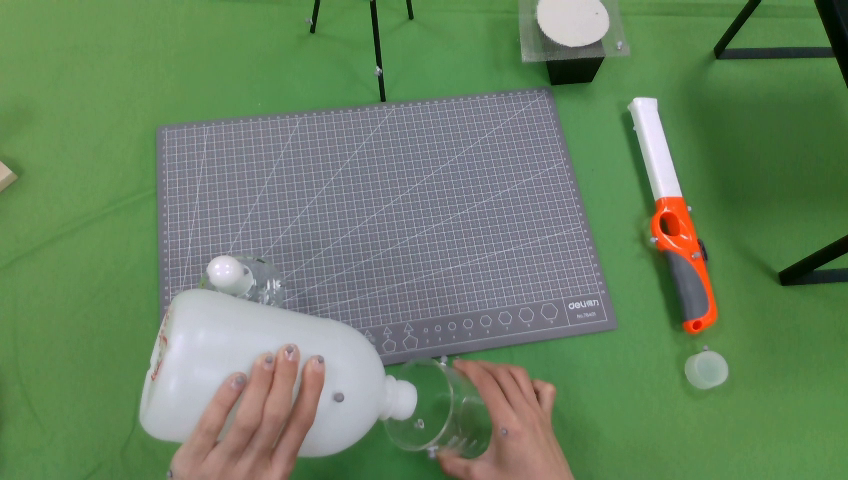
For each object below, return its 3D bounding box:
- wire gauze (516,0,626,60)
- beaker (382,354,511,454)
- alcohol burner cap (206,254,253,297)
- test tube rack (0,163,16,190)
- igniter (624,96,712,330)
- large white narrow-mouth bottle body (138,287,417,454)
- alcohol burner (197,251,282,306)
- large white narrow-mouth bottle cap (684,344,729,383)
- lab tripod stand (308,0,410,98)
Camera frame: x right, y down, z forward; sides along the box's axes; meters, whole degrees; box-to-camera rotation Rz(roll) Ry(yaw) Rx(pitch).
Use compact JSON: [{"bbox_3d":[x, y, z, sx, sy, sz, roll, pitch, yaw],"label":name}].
[{"bbox_3d":[0.165,-0.260,0.700,0.121,0.011,0.124,0,69,-5],"label":"wire gauze"},{"bbox_3d":[0.021,0.147,0.527,0.084,0.101,0.073,-20,59,34],"label":"beaker"},{"bbox_3d":[-0.168,0.029,0.517,0.034,0.048,0.033,1,74,-1],"label":"alcohol burner cap"},{"bbox_3d":[-0.526,-0.017,0.562,0.066,0.085,0.242,39,71,10],"label":"test tube rack"},{"bbox_3d":[0.266,-0.037,0.665,0.057,0.025,0.274,0,69,-16],"label":"igniter"},{"bbox_3d":[-0.095,0.104,0.447,0.196,0.101,0.101,18,66,-27],"label":"large white narrow-mouth bottle body"},{"bbox_3d":[-0.171,0.041,0.551,0.078,0.120,0.077,2,67,-5],"label":"alcohol burner"},{"bbox_3d":[0.283,0.124,0.609,0.038,0.024,0.037,2,68,-3],"label":"large white narrow-mouth bottle cap"},{"bbox_3d":[-0.063,-0.253,0.665,0.148,0.132,0.147,2,69,-5],"label":"lab tripod stand"}]
